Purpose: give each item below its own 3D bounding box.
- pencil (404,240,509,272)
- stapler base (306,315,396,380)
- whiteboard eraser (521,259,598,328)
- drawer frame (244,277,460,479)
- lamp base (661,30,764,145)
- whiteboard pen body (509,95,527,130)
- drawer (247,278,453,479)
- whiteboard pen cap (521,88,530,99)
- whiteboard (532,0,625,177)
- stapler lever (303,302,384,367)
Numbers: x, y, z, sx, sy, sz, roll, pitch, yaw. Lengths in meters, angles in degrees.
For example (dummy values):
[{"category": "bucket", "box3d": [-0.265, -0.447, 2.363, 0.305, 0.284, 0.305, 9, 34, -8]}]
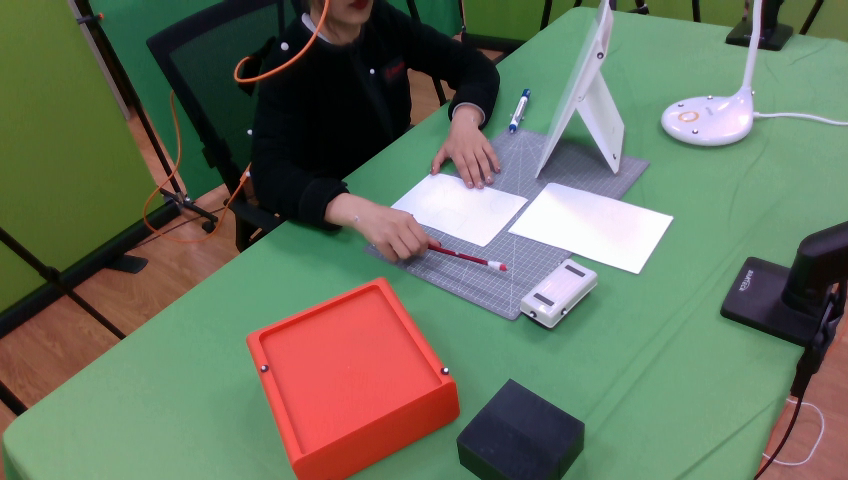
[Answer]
[{"category": "pencil", "box3d": [0.044, 0.021, 0.917, 0.192, 0.012, 0.012, 15, 46, 35]}, {"category": "stapler base", "box3d": [-0.101, 0.138, 0.819, 0.131, 0.024, 0.041, -31, 37, -13]}, {"category": "whiteboard eraser", "box3d": [0.189, 0.076, 0.843, 0.055, 0.042, 0.113, 29, 53, 37]}, {"category": "drawer frame", "box3d": [-0.093, 0.167, 0.755, 0.202, 0.083, 0.211, -23, 43, -17]}, {"category": "lamp base", "box3d": [0.535, -0.287, 1.096, 0.179, 0.181, 0.159, -10, 40, -4]}, {"category": "whiteboard pen body", "box3d": [0.199, -0.273, 1.262, 0.017, 0.017, 0.140, 8, 44, 19]}, {"category": "drawer", "box3d": [-0.096, 0.167, 0.758, 0.195, 0.073, 0.210, -22, 43, -16]}, {"category": "whiteboard pen cap", "box3d": [0.218, -0.312, 1.301, 0.018, 0.018, 0.033, 6, 46, 17]}, {"category": "whiteboard", "box3d": [0.321, -0.258, 1.050, 0.144, 0.306, 0.217, 21, 45, 5]}, {"category": "stapler lever", "box3d": [-0.108, 0.123, 0.805, 0.118, 0.040, 0.026, -27, 36, -15]}]
